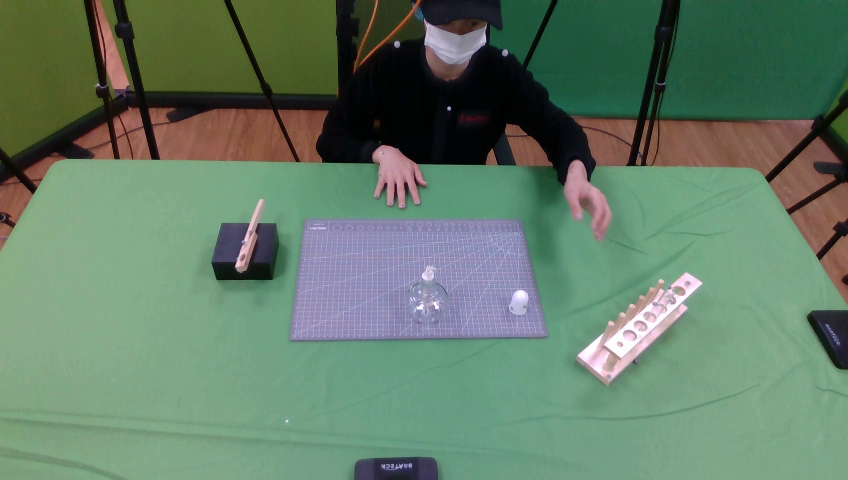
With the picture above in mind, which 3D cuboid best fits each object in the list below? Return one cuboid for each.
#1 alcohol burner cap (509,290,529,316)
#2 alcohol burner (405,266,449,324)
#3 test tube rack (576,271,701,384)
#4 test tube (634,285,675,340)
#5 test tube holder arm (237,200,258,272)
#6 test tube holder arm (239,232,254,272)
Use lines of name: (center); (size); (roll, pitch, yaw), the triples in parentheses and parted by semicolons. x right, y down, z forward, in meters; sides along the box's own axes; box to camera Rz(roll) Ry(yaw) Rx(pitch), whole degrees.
alcohol burner cap: (0.171, 0.110, 1.086); (0.034, 0.048, 0.033); (2, 45, -1)
alcohol burner: (0.005, 0.089, 1.043); (0.078, 0.120, 0.077); (1, 44, -1)
test tube rack: (0.373, 0.138, 1.047); (0.242, 0.085, 0.066); (-31, 56, -29)
test tube: (0.376, 0.122, 0.994); (0.017, 0.151, 0.017); (3, 50, -3)
test tube holder arm: (-0.325, -0.012, 1.120); (0.013, 0.015, 0.177); (1, 45, -6)
test tube holder arm: (-0.318, 0.020, 1.089); (0.010, 0.015, 0.087); (3, 45, -4)
